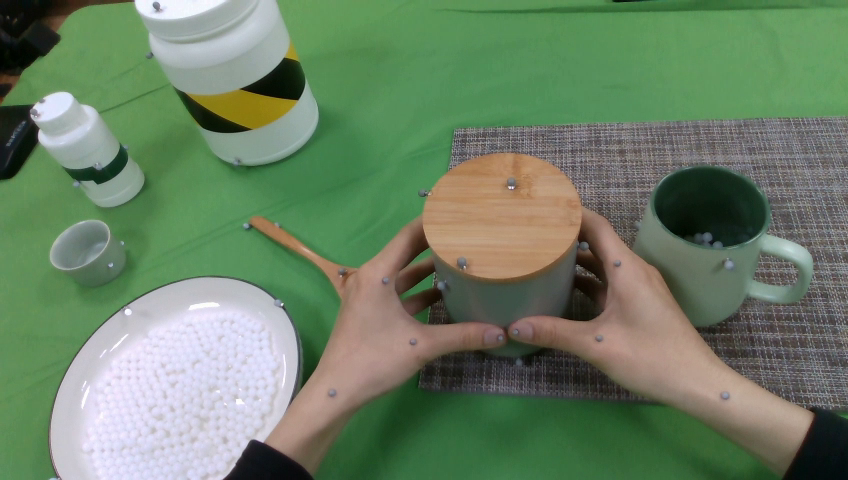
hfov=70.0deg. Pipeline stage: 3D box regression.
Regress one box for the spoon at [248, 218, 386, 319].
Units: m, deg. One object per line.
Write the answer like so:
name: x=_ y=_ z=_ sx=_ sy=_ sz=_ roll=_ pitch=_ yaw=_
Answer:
spoon: x=-0.107 y=0.018 z=0.573 sx=0.192 sy=0.022 sz=0.041 roll=30 pitch=83 yaw=28

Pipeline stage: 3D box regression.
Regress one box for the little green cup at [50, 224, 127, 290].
little green cup: x=-0.332 y=0.019 z=0.605 sx=0.061 sy=0.039 sz=0.061 roll=-5 pitch=52 yaw=7

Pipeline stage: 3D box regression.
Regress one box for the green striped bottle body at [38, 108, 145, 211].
green striped bottle body: x=-0.354 y=-0.090 z=0.640 sx=0.063 sy=0.120 sz=0.062 roll=-5 pitch=52 yaw=7

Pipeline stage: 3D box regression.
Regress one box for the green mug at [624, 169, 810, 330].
green mug: x=0.220 y=0.015 z=0.458 sx=0.124 sy=0.106 sz=0.092 roll=20 pitch=59 yaw=23

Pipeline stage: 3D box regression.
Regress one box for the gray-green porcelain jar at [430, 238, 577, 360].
gray-green porcelain jar: x=0.062 y=0.025 z=0.465 sx=0.106 sy=0.128 sz=0.105 roll=-5 pitch=53 yaw=7

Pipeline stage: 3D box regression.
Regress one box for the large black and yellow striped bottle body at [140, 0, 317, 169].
large black and yellow striped bottle body: x=-0.200 y=-0.179 z=0.637 sx=0.130 sy=0.186 sz=0.129 roll=-5 pitch=53 yaw=7

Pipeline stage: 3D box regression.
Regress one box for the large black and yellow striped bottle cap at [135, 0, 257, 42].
large black and yellow striped bottle cap: x=-0.214 y=-0.228 z=0.570 sx=0.115 sy=0.019 sz=0.114 roll=-5 pitch=51 yaw=7

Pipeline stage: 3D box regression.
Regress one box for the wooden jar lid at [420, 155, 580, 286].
wooden jar lid: x=0.052 y=-0.012 z=0.417 sx=0.108 sy=0.021 sz=0.107 roll=-5 pitch=55 yaw=8

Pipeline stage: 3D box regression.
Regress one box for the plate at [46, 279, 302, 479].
plate: x=-0.198 y=0.127 z=0.499 sx=0.209 sy=0.038 sz=0.207 roll=-5 pitch=52 yaw=7

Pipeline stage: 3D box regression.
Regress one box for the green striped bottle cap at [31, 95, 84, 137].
green striped bottle cap: x=-0.362 y=-0.122 z=0.599 sx=0.044 sy=0.020 sz=0.044 roll=-3 pitch=55 yaw=5
